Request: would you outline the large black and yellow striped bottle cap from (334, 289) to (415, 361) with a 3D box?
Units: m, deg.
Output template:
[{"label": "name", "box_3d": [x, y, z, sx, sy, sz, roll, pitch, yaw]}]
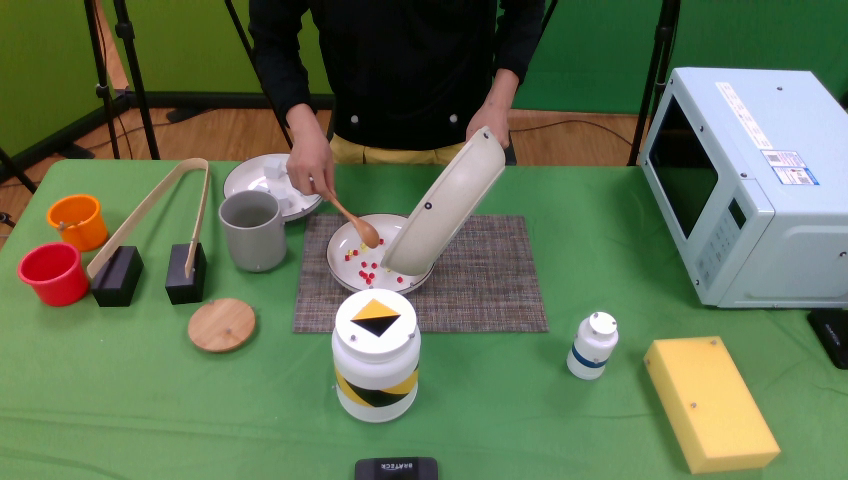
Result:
[{"label": "large black and yellow striped bottle cap", "box_3d": [-0.069, 0.117, 0.850, 0.115, 0.019, 0.114, 2, 45, -2]}]

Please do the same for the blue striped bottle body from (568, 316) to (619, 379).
[{"label": "blue striped bottle body", "box_3d": [0.277, 0.168, 0.984, 0.063, 0.121, 0.062, 2, 46, -2]}]

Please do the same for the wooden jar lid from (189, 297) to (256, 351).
[{"label": "wooden jar lid", "box_3d": [-0.342, 0.145, 1.033, 0.108, 0.021, 0.107, 2, 45, -2]}]

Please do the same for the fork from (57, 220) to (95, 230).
[{"label": "fork", "box_3d": [-0.624, -0.027, 1.086, 0.028, 0.018, 0.207, -3, 2, -17]}]

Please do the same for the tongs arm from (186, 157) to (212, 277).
[{"label": "tongs arm", "box_3d": [-0.445, -0.058, 1.168, 0.051, 0.026, 0.382, -5, 37, -6]}]

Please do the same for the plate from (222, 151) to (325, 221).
[{"label": "plate", "box_3d": [-0.310, -0.106, 1.263, 0.208, 0.039, 0.206, 2, 47, -2]}]

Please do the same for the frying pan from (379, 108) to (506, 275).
[{"label": "frying pan", "box_3d": [0.074, -0.119, 1.074, 0.103, 0.307, 0.486, 33, 45, -3]}]

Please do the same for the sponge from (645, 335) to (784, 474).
[{"label": "sponge", "box_3d": [0.449, 0.253, 0.956, 0.118, 0.061, 0.205, -4, 46, -7]}]

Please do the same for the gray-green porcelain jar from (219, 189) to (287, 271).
[{"label": "gray-green porcelain jar", "box_3d": [-0.310, -0.014, 1.113, 0.106, 0.127, 0.105, 2, 46, -2]}]

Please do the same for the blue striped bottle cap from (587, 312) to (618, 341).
[{"label": "blue striped bottle cap", "box_3d": [0.279, 0.134, 0.947, 0.044, 0.021, 0.044, 2, 45, -2]}]

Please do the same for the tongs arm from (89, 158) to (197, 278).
[{"label": "tongs arm", "box_3d": [-0.530, -0.057, 1.164, 0.028, 0.028, 0.385, 1, 36, 8]}]

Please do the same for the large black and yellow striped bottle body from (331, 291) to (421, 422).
[{"label": "large black and yellow striped bottle body", "box_3d": [-0.071, 0.175, 0.911, 0.131, 0.185, 0.130, 2, 47, -2]}]

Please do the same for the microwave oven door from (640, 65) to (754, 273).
[{"label": "microwave oven door", "box_3d": [0.523, -0.147, 1.192, 0.039, 0.245, 0.353, 0, 47, -3]}]

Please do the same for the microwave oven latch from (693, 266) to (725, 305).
[{"label": "microwave oven latch", "box_3d": [0.523, 0.081, 1.116, 0.030, 0.029, 0.078, 3, 46, -1]}]

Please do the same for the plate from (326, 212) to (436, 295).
[{"label": "plate", "box_3d": [-0.080, 0.030, 1.143, 0.209, 0.038, 0.208, 2, 46, -2]}]

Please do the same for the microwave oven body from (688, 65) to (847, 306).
[{"label": "microwave oven body", "box_3d": [0.669, -0.111, 1.176, 0.326, 0.261, 0.439, 0, 46, -3]}]

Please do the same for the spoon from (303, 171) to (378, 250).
[{"label": "spoon", "box_3d": [-0.154, -0.056, 1.117, 0.194, 0.041, 0.021, 45, 31, -4]}]
